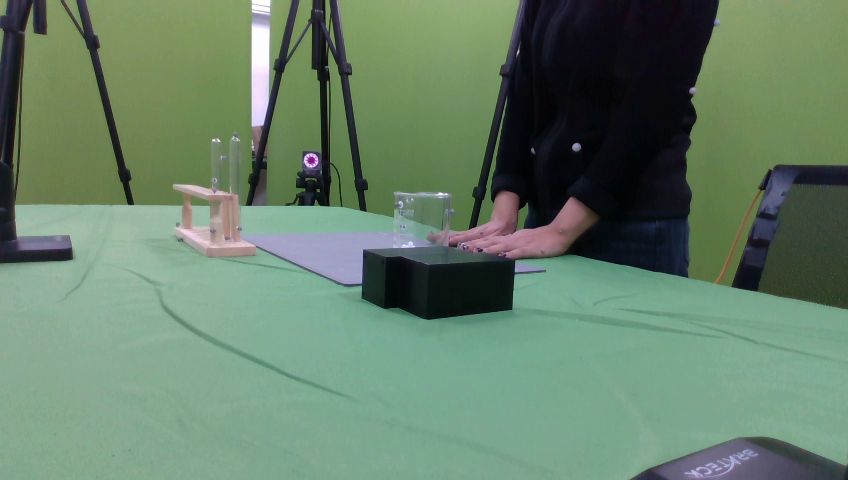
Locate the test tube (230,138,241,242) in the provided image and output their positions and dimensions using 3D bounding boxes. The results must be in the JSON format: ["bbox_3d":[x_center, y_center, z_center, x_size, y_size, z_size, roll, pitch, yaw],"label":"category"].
[{"bbox_3d":[-0.270,-0.071,0.866,0.017,0.150,0.017,2,8,0],"label":"test tube"}]

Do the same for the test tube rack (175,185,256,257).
[{"bbox_3d":[-0.324,-0.035,0.922,0.067,0.085,0.241,-2,9,-32],"label":"test tube rack"}]

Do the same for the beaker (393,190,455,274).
[{"bbox_3d":[-0.005,-0.011,0.760,0.074,0.100,0.083,-2,8,-32],"label":"beaker"}]

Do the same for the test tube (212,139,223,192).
[{"bbox_3d":[-0.329,-0.086,0.965,0.017,0.150,0.017,1,6,0],"label":"test tube"}]
